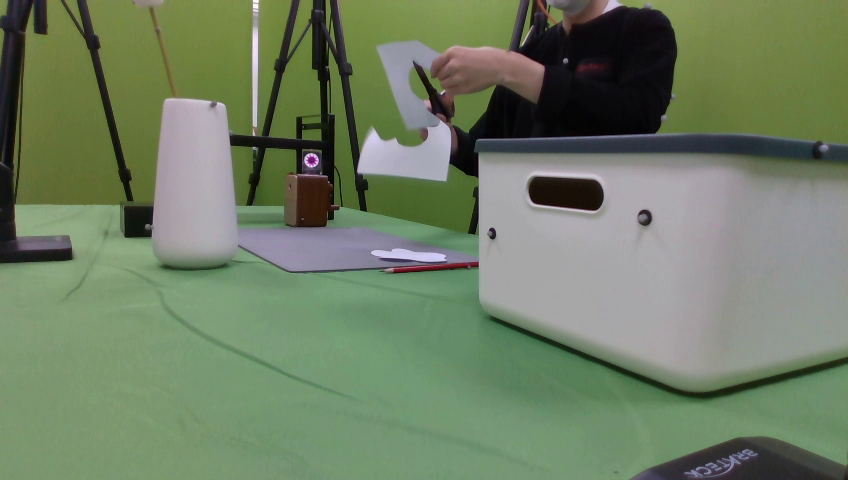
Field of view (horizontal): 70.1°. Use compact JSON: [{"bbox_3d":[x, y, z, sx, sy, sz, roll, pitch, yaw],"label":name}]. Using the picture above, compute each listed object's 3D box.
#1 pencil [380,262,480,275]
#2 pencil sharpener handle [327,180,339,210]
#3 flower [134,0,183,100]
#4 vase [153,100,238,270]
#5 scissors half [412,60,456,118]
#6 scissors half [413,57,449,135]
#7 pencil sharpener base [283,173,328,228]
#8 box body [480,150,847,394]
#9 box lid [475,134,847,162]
[{"bbox_3d":[0.030,0.036,0.795,0.195,0.012,0.012,-3,9,-30],"label":"pencil"},{"bbox_3d":[-0.194,-0.094,1.256,0.031,0.067,0.036,-2,-7,-36],"label":"pencil sharpener handle"},{"bbox_3d":[-0.282,-0.147,0.713,0.038,0.362,0.044,-23,24,-31],"label":"flower"},{"bbox_3d":[-0.278,-0.066,0.736,0.098,0.200,0.098,2,9,0],"label":"vase"},{"bbox_3d":[0.019,-0.270,1.078,0.013,0.040,0.176,9,-12,30],"label":"scissors half"},{"bbox_3d":[0.010,-0.252,1.071,0.012,0.176,0.040,15,58,32],"label":"scissors half"},{"bbox_3d":[-0.239,-0.081,1.231,0.077,0.107,0.061,-2,8,-36],"label":"pencil sharpener base"},{"bbox_3d":[0.254,0.002,0.539,0.366,0.160,0.253,-2,8,-31],"label":"box body"},{"bbox_3d":[0.256,-0.073,0.528,0.373,0.015,0.262,-2,8,-31],"label":"box lid"}]
